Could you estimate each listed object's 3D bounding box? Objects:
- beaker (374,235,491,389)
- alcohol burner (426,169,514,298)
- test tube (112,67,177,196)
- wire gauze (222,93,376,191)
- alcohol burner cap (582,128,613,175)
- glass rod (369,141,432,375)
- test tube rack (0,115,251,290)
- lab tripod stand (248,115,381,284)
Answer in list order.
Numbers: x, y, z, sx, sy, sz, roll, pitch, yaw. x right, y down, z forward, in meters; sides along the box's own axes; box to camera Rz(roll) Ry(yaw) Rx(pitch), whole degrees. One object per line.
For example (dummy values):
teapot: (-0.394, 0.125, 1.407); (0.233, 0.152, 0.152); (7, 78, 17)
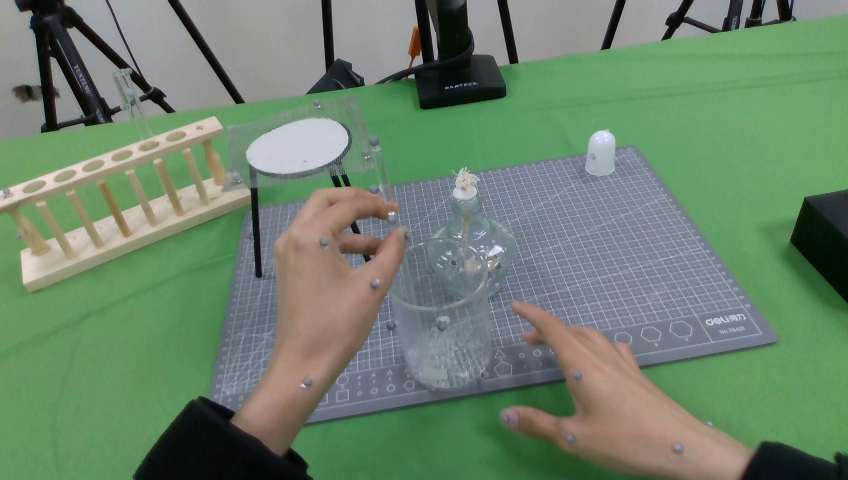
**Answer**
beaker: (0.011, 0.058, 0.459); (0.084, 0.101, 0.073); (-4, 40, 6)
alcohol burner: (0.038, -0.008, 0.520); (0.078, 0.120, 0.077); (-5, 39, 5)
test tube: (-0.296, -0.111, 0.648); (0.017, 0.151, 0.017); (-4, 38, 4)
wire gauze: (-0.110, -0.085, 0.515); (0.125, 0.011, 0.120); (-13, 40, -5)
alcohol burner cap: (0.189, -0.099, 0.655); (0.034, 0.048, 0.033); (-5, 40, 4)
glass rod: (-0.015, 0.023, 0.422); (0.008, 0.201, 0.008); (-8, 33, 6)
test tube rack: (-0.320, -0.045, 0.652); (0.242, 0.086, 0.066); (-25, 43, -19)
lab tripod stand: (-0.102, -0.034, 0.559); (0.148, 0.133, 0.147); (-5, 42, 5)
